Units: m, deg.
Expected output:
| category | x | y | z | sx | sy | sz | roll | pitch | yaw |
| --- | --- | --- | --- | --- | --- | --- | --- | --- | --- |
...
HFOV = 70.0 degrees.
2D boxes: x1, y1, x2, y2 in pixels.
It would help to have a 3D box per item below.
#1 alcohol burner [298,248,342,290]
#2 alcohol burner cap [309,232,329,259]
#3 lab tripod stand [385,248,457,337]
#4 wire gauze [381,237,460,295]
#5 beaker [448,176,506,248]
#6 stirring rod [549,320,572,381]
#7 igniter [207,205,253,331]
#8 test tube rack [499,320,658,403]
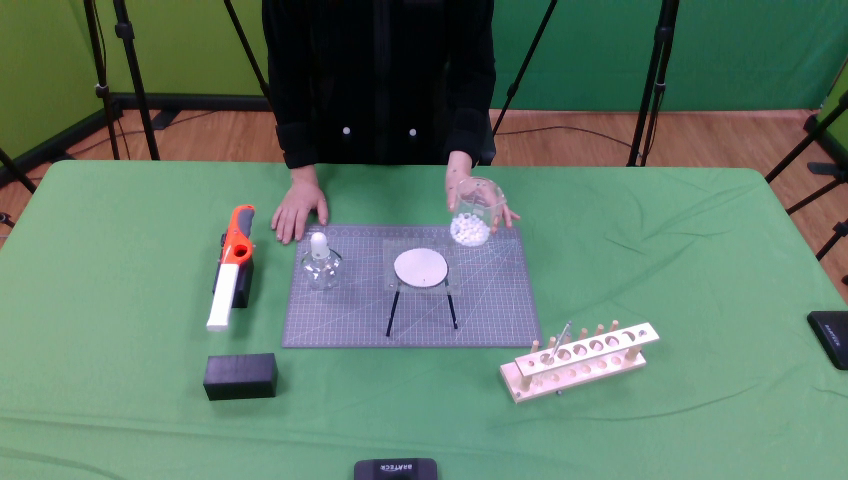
| category | x | y | z | sx | sy | sz | roll | pitch | yaw |
| --- | --- | --- | --- | --- | --- | --- | --- | --- | --- |
| alcohol burner | -0.187 | 0.032 | 1.084 | 0.078 | 0.120 | 0.077 | 1 | 46 | -1 |
| alcohol burner cap | -0.185 | 0.008 | 1.058 | 0.034 | 0.048 | 0.033 | 0 | 43 | 1 |
| lab tripod stand | -0.010 | 0.087 | 1.032 | 0.148 | 0.132 | 0.147 | 1 | 45 | -1 |
| wire gauze | -0.008 | 0.040 | 0.984 | 0.125 | 0.011 | 0.120 | 0 | 44 | -4 |
| beaker | 0.082 | -0.042 | 0.978 | 0.084 | 0.101 | 0.073 | 13 | 47 | 2 |
| stirring rod | 0.202 | 0.167 | 0.901 | 0.006 | 0.177 | 0.014 | -17 | 54 | -11 |
| igniter | -0.339 | 0.038 | 1.066 | 0.057 | 0.025 | 0.274 | 2 | 48 | -6 |
| test tube rack | 0.252 | 0.187 | 0.994 | 0.243 | 0.085 | 0.066 | -12 | 48 | -15 |
